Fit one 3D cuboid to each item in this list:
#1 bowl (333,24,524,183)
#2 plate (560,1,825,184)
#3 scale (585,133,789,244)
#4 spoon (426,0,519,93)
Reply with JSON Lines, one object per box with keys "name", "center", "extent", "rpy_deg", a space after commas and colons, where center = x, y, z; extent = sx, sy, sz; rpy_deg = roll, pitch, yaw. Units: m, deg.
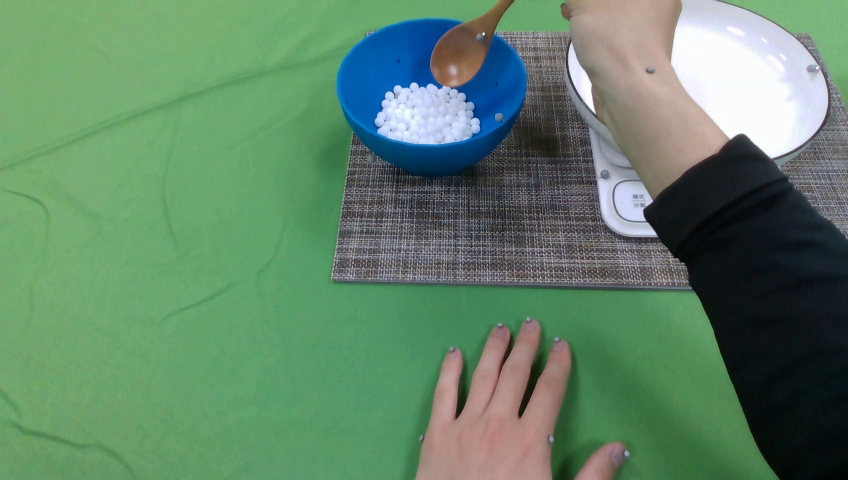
{"name": "bowl", "center": [0.005, -0.101, 0.505], "extent": [0.151, 0.077, 0.150], "rpy_deg": [0, 55, 1]}
{"name": "plate", "center": [0.215, -0.123, 0.504], "extent": [0.209, 0.038, 0.207], "rpy_deg": [0, 55, 0]}
{"name": "scale", "center": [0.214, -0.085, 0.518], "extent": [0.148, 0.032, 0.199], "rpy_deg": [1, 56, 2]}
{"name": "spoon", "center": [0.061, -0.170, 0.436], "extent": [0.041, 0.194, 0.021], "rpy_deg": [52, 51, -2]}
